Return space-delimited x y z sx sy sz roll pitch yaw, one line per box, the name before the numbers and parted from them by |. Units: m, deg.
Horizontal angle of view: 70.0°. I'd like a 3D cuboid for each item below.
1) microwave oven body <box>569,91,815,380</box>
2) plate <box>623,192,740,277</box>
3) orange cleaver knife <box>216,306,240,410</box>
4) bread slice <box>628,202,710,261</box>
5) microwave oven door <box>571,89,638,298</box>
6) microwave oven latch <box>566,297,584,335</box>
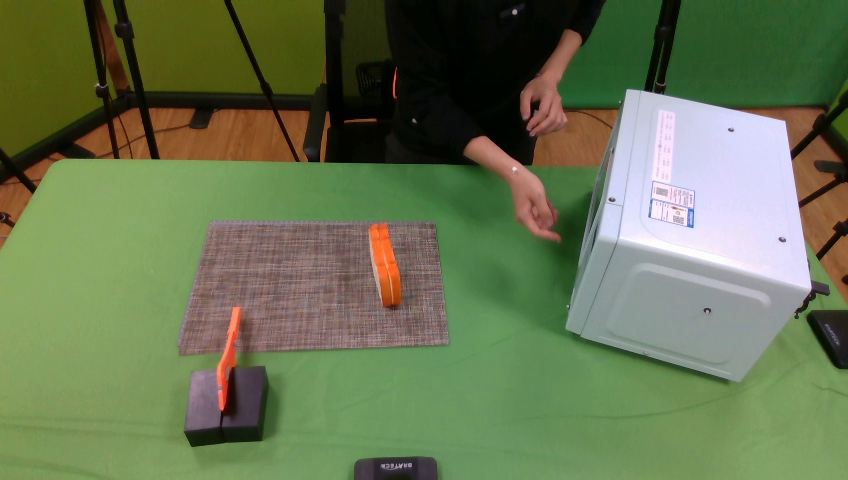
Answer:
microwave oven body | 0.468 -0.022 1.082 0.325 0.261 0.440 15 46 11
plate | 0.480 -0.007 1.142 0.208 0.039 0.206 0 47 0
orange cleaver knife | -0.307 0.180 0.957 0.012 0.077 0.210 -2 25 -8
bread slice | 0.474 -0.023 1.163 0.134 0.018 0.106 -27 53 -17
microwave oven door | 0.343 -0.091 1.133 0.039 0.245 0.354 15 47 10
microwave oven latch | 0.268 0.126 1.059 0.030 0.029 0.079 16 46 12
